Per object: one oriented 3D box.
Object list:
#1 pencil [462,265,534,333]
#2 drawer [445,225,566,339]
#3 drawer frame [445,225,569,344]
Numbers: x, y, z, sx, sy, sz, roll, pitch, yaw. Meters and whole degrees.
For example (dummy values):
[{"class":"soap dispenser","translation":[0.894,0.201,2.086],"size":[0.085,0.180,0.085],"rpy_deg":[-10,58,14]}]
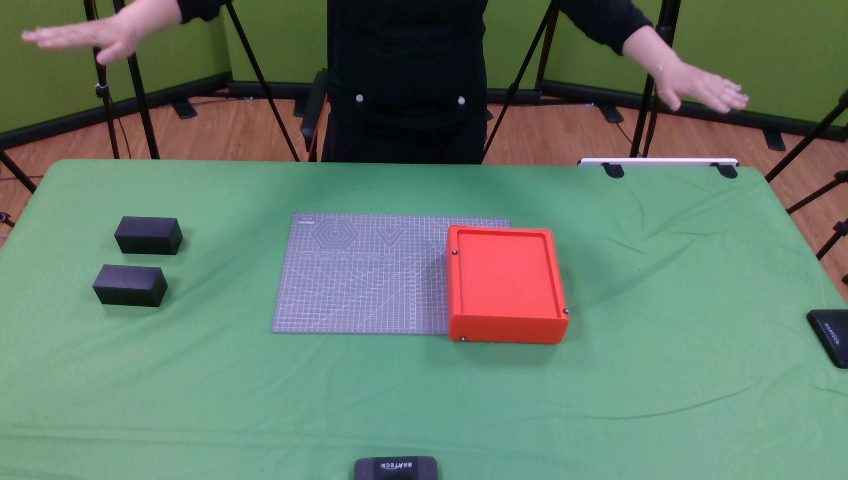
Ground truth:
[{"class":"pencil","translation":[0.130,0.103,1.098],"size":[0.012,0.012,0.193],"rpy_deg":[-26,51,-26]},{"class":"drawer","translation":[0.139,0.073,1.094],"size":[0.194,0.073,0.210],"rpy_deg":[3,47,-3]},{"class":"drawer frame","translation":[0.141,0.076,1.089],"size":[0.202,0.083,0.212],"rpy_deg":[3,47,-4]}]
